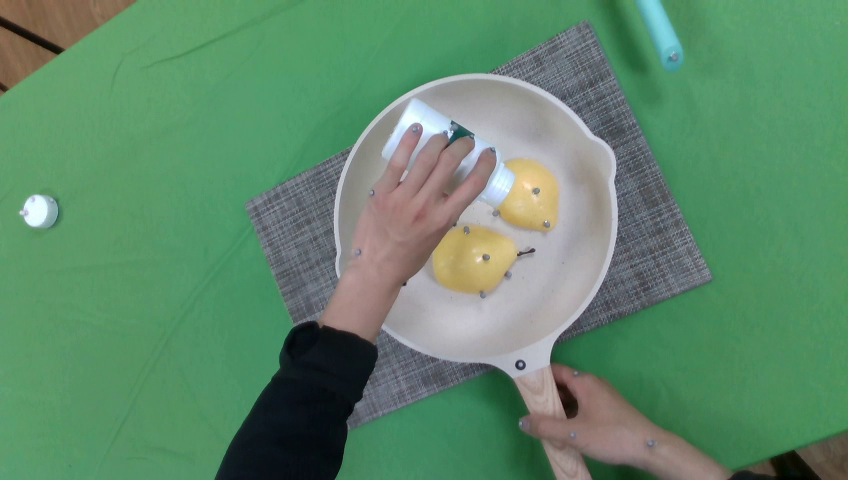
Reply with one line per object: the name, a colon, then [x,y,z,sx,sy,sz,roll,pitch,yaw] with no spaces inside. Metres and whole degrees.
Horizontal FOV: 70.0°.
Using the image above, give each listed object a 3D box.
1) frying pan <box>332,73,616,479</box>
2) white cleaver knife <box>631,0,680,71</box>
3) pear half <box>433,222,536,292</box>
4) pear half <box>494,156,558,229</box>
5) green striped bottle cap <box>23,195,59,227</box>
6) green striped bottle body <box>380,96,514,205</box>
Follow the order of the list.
frying pan: [0.084,0.072,0.615,0.306,0.103,0.485,-23,76,14]
white cleaver knife: [0.193,-0.299,0.609,0.021,0.066,0.285,-23,82,19]
pear half: [0.063,0.016,0.644,0.109,0.056,0.076,-12,92,11]
pear half: [0.107,-0.049,0.643,0.070,0.031,0.087,-41,77,16]
green striped bottle cap: [-0.517,-0.039,0.818,0.044,0.020,0.044,0,90,15]
green striped bottle body: [0.025,-0.078,0.565,0.120,0.063,0.063,29,98,-11]
